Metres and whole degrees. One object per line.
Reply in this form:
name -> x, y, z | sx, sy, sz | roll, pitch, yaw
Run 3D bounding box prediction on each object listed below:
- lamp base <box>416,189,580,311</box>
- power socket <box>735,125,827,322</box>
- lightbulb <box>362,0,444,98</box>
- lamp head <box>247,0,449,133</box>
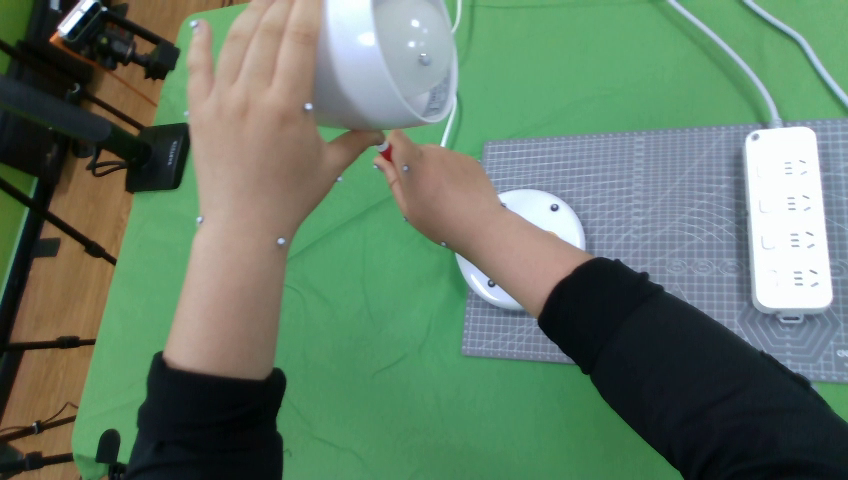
lamp base -> 0.075, -0.012, 0.698 | 0.178, 0.182, 0.159 | -7, 69, 23
power socket -> 0.388, -0.024, 0.663 | 0.072, 0.033, 0.225 | -2, 71, 20
lightbulb -> -0.038, -0.121, 0.397 | 0.107, 0.060, 0.059 | 1, 72, 28
lamp head -> -0.056, -0.120, 0.416 | 0.122, 0.113, 0.111 | -11, 67, 33
